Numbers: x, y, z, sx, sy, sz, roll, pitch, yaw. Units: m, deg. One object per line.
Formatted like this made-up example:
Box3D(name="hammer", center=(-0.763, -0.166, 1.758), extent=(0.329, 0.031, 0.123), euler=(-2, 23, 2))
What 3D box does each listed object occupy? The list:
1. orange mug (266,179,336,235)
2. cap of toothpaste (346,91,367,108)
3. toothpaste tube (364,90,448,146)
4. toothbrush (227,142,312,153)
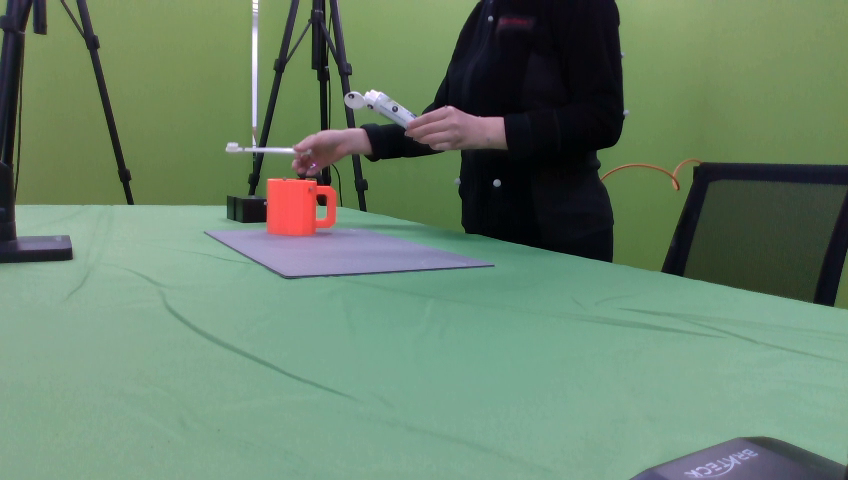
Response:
Box3D(name="orange mug", center=(-0.222, -0.062, 1.094), extent=(0.127, 0.101, 0.083), euler=(-5, 10, -22))
Box3D(name="cap of toothpaste", center=(-0.113, -0.238, 1.018), extent=(0.037, 0.011, 0.037), euler=(1, -36, 1))
Box3D(name="toothpaste tube", center=(-0.030, -0.209, 1.041), extent=(0.165, 0.034, 0.055), euler=(29, 26, -6))
Box3D(name="toothbrush", center=(-0.313, -0.189, 1.241), extent=(0.183, 0.016, 0.014), euler=(-4, 36, -37))
